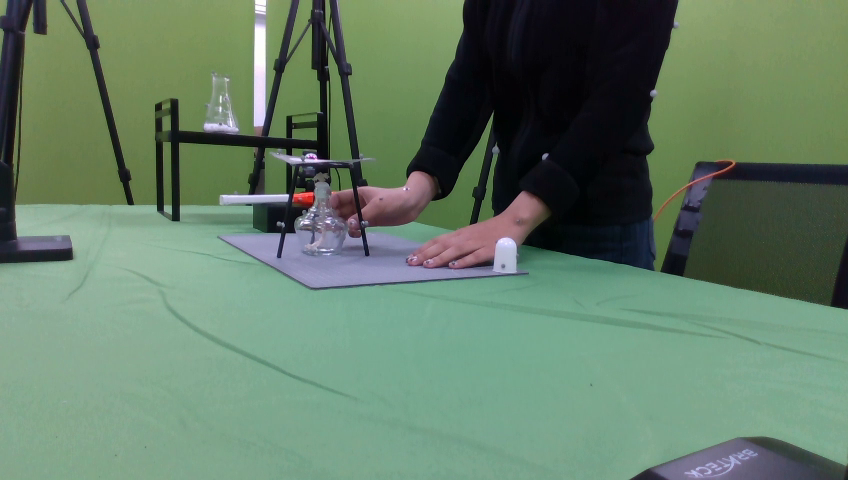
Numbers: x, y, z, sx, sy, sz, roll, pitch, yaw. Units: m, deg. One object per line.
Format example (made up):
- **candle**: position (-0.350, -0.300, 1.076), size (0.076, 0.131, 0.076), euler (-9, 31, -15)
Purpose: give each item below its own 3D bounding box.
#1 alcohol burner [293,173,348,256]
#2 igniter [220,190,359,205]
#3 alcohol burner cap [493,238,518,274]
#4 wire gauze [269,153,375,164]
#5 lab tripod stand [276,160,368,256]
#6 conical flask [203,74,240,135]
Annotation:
- **alcohol burner**: position (-0.148, -0.037, 0.868), size (0.078, 0.119, 0.078), euler (4, 9, 0)
- **igniter**: position (-0.246, -0.081, 1.158), size (0.278, 0.025, 0.057), euler (-5, 7, -32)
- **alcohol burner cap**: position (0.107, 0.021, 0.785), size (0.034, 0.048, 0.034), euler (1, 7, 0)
- **wire gauze**: position (-0.146, -0.114, 0.860), size (0.122, 0.011, 0.124), euler (-2, 9, -29)
- **lab tripod stand**: position (-0.149, -0.046, 0.861), size (0.148, 0.131, 0.148), euler (3, 9, 0)
- **conical flask**: position (-0.425, -0.284, 1.272), size (0.075, 0.122, 0.075), euler (3, 7, 0)
